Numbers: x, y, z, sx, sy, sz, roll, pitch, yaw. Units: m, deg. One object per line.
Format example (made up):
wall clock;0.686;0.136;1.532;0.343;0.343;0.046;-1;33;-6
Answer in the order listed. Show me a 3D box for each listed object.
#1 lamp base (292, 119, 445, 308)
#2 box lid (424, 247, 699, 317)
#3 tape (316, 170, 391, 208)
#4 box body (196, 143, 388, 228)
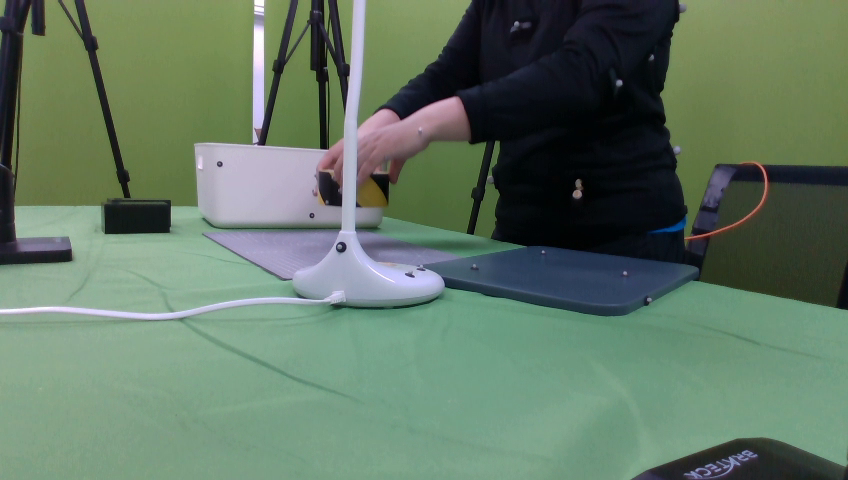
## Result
lamp base;-0.056;-0.030;0.616;0.160;0.180;0.179;4;10;8
box lid;0.184;0.044;0.789;0.262;0.015;0.373;8;9;35
tape;-0.109;-0.080;0.931;0.117;0.052;0.117;2;8;0
box body;-0.286;-0.118;1.291;0.366;0.160;0.253;-1;8;-27
